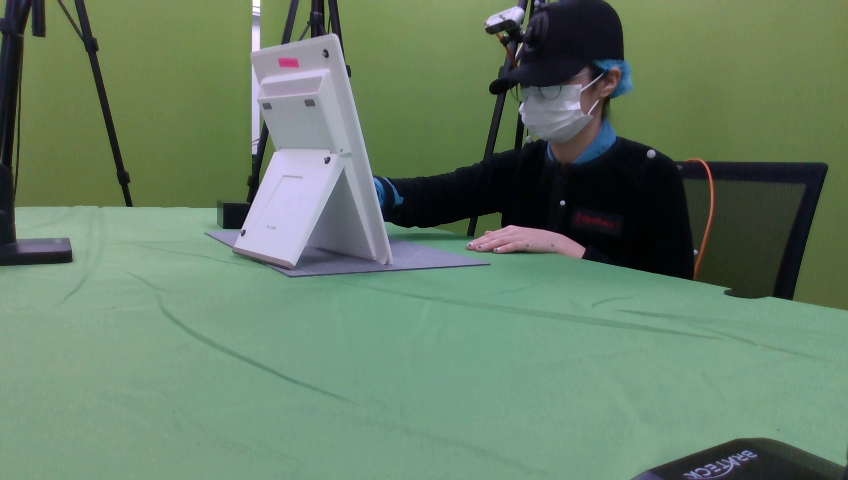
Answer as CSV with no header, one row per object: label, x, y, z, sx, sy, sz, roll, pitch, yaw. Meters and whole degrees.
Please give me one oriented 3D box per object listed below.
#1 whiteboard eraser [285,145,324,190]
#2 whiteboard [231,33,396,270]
whiteboard eraser,-0.180,-0.107,0.903,0.019,0.041,0.101,-30,-3,-39
whiteboard,-0.193,-0.094,0.805,0.144,0.305,0.216,-29,25,-35
